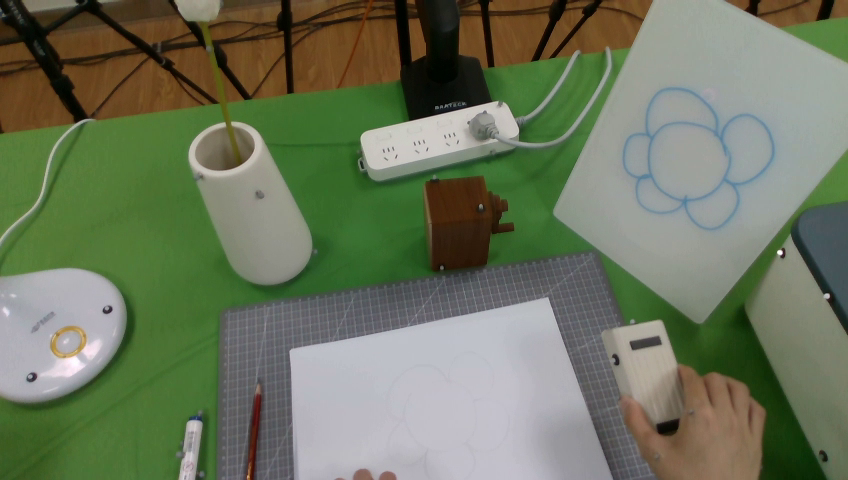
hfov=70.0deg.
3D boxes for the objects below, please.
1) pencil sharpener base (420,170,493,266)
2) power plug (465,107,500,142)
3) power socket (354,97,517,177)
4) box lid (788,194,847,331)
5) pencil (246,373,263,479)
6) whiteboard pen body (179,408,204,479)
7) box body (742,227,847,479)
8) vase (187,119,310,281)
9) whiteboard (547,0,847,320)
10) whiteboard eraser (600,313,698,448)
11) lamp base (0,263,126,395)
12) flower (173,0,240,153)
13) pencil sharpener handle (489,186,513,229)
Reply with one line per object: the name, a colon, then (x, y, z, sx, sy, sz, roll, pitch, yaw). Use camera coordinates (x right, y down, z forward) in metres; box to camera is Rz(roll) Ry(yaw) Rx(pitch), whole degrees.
pencil sharpener base: (0.038, -0.024, 0.696, 0.077, 0.108, 0.061, -7, 57, -3)
power plug: (0.074, -0.140, 0.784, 0.035, 0.053, 0.072, -5, 59, -1)
power socket: (0.017, -0.139, 0.812, 0.227, 0.033, 0.071, -14, 59, -8)
box lid: (0.494, 0.097, 0.488, 0.263, 0.015, 0.367, -9, 58, -5)
pencil: (-0.171, 0.223, 0.601, 0.012, 0.012, 0.192, -3, 57, 0)
whiteboard pen body: (-0.231, 0.233, 0.591, 0.017, 0.017, 0.139, -5, 54, -1)
box body: (0.496, 0.139, 0.550, 0.254, 0.162, 0.360, -10, 58, -5)
vase: (-0.188, -0.037, 0.656, 0.098, 0.202, 0.097, -1, 58, 2)
whiteboard: (0.310, -0.105, 0.659, 0.144, 0.307, 0.215, -28, 59, -37)
whiteboard eraser: (0.200, 0.125, 0.547, 0.056, 0.042, 0.112, -8, 72, -17)
lamp base: (-0.430, 0.051, 0.616, 0.178, 0.182, 0.160, 19, 60, 16)
flower: (-0.187, -0.097, 0.596, 0.038, 0.365, 0.043, -19, 41, -18)
pencil sharpener handle: (0.088, -0.036, 0.688, 0.031, 0.068, 0.035, -7, 56, -3)
